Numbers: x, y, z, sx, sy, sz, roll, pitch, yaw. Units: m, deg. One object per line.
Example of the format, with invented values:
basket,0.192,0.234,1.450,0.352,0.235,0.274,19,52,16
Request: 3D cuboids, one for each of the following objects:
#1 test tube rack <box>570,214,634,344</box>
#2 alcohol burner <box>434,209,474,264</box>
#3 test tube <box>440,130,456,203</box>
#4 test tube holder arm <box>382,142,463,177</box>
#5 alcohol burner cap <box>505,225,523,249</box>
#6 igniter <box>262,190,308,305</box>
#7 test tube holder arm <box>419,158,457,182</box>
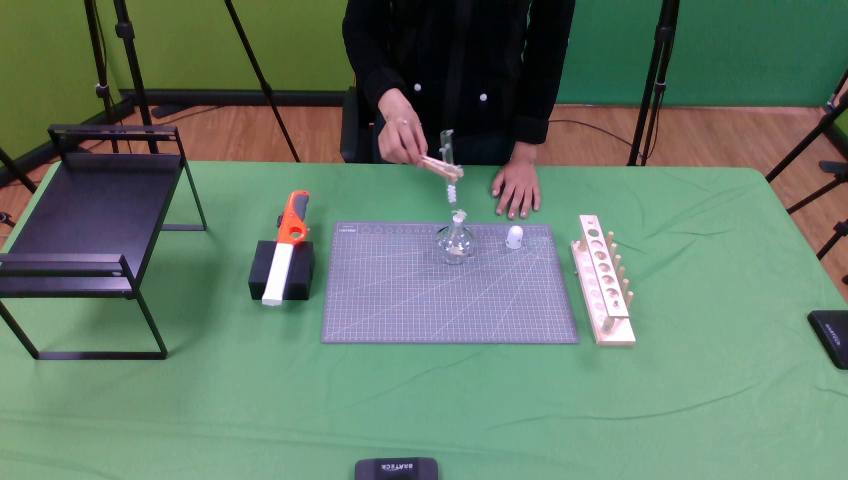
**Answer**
test tube rack,0.333,0.067,1.116,0.067,0.085,0.241,1,46,-3
alcohol burner,0.058,-0.012,1.147,0.078,0.119,0.077,3,44,-3
test tube,0.041,-0.121,1.027,0.017,0.151,0.017,-4,44,4
test tube holder arm,-0.006,-0.144,1.069,0.177,0.015,0.013,25,55,32
alcohol burner cap,0.180,-0.009,1.203,0.034,0.048,0.033,2,47,-2
igniter,-0.252,0.004,1.107,0.057,0.025,0.275,7,47,-6
test tube holder arm,0.023,-0.123,1.042,0.010,0.015,0.087,-37,49,-23
